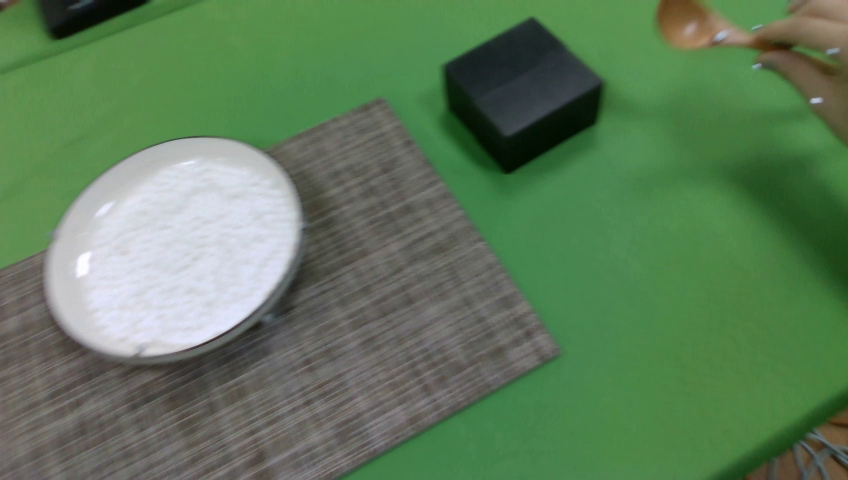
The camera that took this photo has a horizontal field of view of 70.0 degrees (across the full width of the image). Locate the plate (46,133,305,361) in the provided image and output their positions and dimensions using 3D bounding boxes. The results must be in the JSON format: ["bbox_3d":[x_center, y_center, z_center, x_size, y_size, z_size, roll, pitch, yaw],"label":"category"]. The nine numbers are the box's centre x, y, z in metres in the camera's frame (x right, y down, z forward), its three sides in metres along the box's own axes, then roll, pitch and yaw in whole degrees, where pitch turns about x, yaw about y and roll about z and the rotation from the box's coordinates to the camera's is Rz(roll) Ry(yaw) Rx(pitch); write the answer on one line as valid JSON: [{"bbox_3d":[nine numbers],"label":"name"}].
[{"bbox_3d":[-0.198,0.003,0.498,0.209,0.038,0.207,-3,60,5],"label":"plate"}]

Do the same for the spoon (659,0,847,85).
[{"bbox_3d":[0.259,-0.146,0.455,0.194,0.021,0.041,16,91,-10],"label":"spoon"}]
